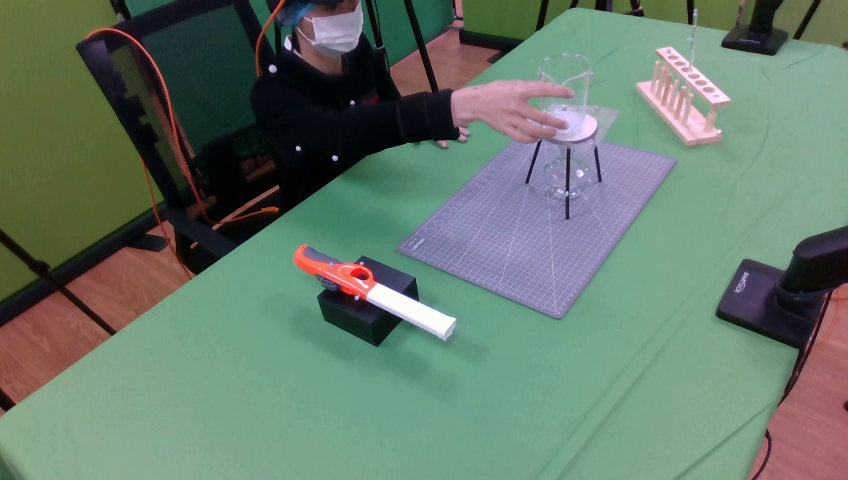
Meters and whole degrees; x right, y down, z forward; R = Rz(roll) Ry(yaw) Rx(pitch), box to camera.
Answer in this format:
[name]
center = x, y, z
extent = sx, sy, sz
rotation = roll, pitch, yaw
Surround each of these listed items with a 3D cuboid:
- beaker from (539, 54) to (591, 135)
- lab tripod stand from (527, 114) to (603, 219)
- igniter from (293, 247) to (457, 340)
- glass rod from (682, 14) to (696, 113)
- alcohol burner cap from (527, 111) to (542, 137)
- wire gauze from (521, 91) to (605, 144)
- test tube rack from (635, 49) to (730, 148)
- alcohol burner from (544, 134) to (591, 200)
[beaker]
center = 0.208, -0.214, 0.905
extent = 0.073, 0.101, 0.084
rotation = 6, 45, 16
[lab tripod stand]
center = 0.234, -0.129, 1.002
extent = 0.148, 0.132, 0.147
rotation = -6, 40, 6
[igniter]
center = -0.077, 0.068, 0.830
extent = 0.274, 0.025, 0.057
rotation = 22, 48, 27
[glass rod]
center = 0.495, -0.326, 1.132
extent = 0.008, 0.201, 0.008
rotation = -8, 42, 8
[alcohol burner cap]
center = 0.220, -0.233, 1.200
extent = 0.034, 0.048, 0.033
rotation = -6, 41, 5
[wire gauze]
center = 0.219, -0.191, 0.947
extent = 0.121, 0.011, 0.125
rotation = 8, 49, 13
[test tube rack]
center = 0.497, -0.283, 1.185
extent = 0.067, 0.085, 0.240
rotation = -10, 40, -2
[alcohol burner]
center = 0.241, -0.127, 1.014
extent = 0.078, 0.119, 0.077
rotation = -5, 42, 5
